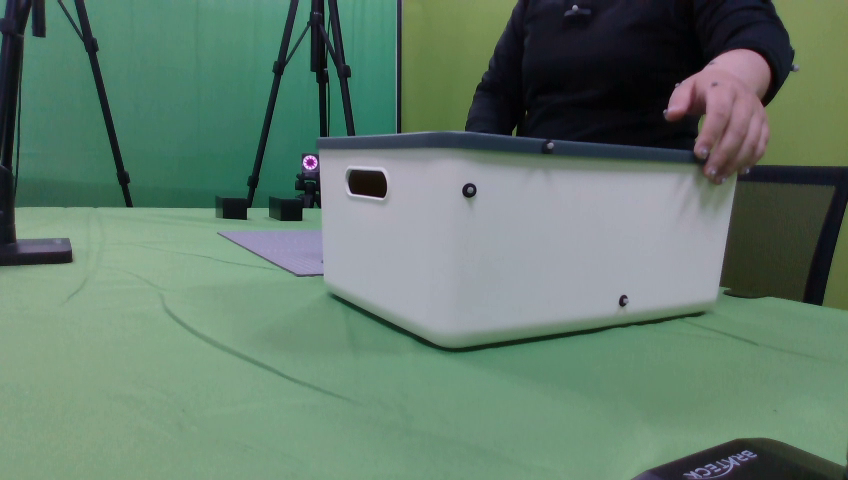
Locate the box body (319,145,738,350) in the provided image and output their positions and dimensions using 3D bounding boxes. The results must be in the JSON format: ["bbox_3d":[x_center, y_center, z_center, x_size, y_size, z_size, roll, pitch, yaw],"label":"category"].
[{"bbox_3d":[0.100,-0.013,0.611,0.366,0.160,0.253,-2,8,-32],"label":"box body"}]

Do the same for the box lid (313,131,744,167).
[{"bbox_3d":[0.101,-0.085,0.602,0.373,0.015,0.262,-2,8,-32],"label":"box lid"}]

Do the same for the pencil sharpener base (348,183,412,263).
[{"bbox_3d":[-0.059,-0.024,0.846,0.077,0.107,0.061,-1,7,-30],"label":"pencil sharpener base"}]

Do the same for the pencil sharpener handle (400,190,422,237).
[{"bbox_3d":[-0.016,-0.038,0.872,0.031,0.067,0.036,-1,16,-30],"label":"pencil sharpener handle"}]
